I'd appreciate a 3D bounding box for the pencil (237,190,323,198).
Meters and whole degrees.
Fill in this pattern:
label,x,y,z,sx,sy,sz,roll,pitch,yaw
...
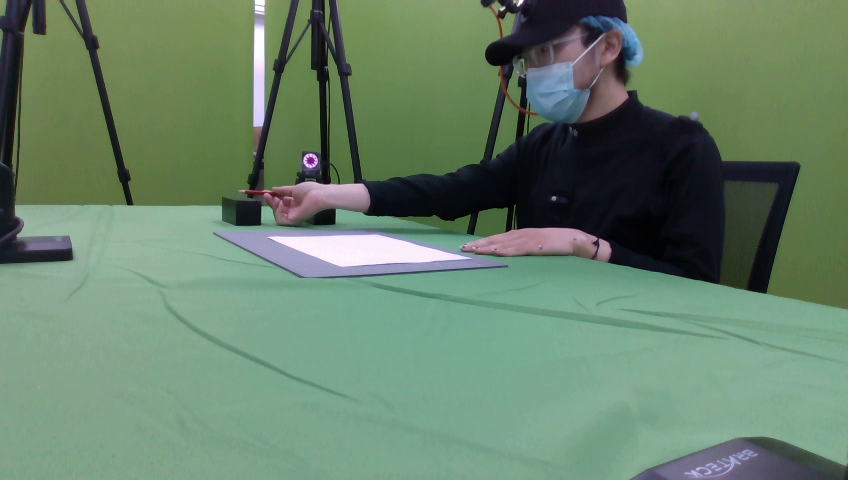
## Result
label,x,y,z,sx,sy,sz,roll,pitch,yaw
pencil,-0.300,-0.097,1.275,0.195,0.012,0.012,0,8,-40
